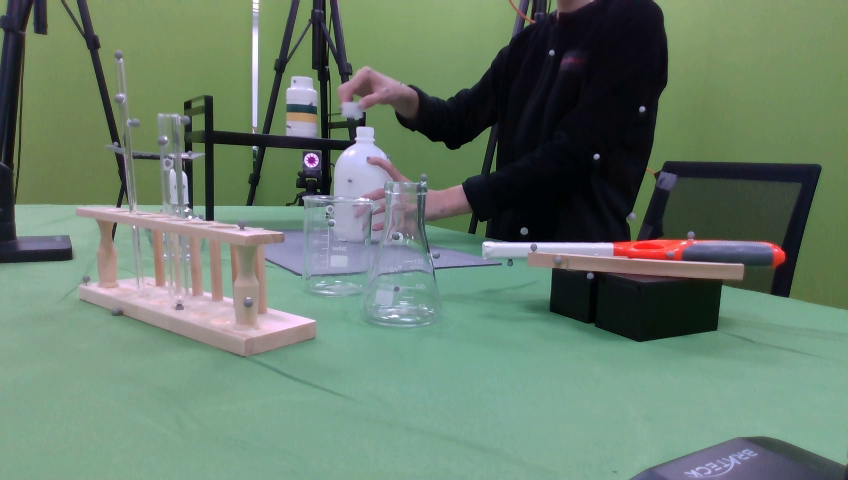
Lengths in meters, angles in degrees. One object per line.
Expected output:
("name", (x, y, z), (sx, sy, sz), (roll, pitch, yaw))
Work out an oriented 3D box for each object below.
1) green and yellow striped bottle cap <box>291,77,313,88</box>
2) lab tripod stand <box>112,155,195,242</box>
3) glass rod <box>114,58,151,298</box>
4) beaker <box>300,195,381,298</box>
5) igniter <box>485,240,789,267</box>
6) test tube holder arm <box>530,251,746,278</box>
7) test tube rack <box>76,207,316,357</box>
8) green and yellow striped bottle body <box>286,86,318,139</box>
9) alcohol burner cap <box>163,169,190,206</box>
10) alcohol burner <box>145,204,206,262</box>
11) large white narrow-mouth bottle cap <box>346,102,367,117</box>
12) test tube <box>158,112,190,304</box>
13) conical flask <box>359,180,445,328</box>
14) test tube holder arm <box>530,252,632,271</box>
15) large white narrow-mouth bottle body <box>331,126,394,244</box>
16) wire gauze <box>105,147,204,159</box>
("green and yellow striped bottle cap", (-0.250, -0.321, 1.238), (0.045, 0.020, 0.045), (3, 6, 0))
("lab tripod stand", (-0.405, -0.064, 0.931), (0.148, 0.131, 0.148), (1, 7, 0))
("glass rod", (-0.236, -0.044, 0.492), (0.008, 0.199, 0.008), (0, 15, 0))
("beaker", (-0.087, 0.006, 0.626), (0.084, 0.100, 0.074), (1, 8, -17))
("igniter", (0.197, 0.012, 0.585), (0.276, 0.025, 0.057), (1, 5, 12))
("test tube holder arm", (0.182, 0.022, 0.523), (0.178, 0.015, 0.013), (3, 6, 12))
("test tube rack", (-0.196, 0.023, 0.500), (0.241, 0.085, 0.067), (8, 9, 36))
("green and yellow striped bottle body", (-0.251, -0.270, 1.245), (0.063, 0.119, 0.063), (2, 7, 0))
("alcohol burner cap", (-0.320, -0.067, 0.782), (0.034, 0.048, 0.034), (1, 7, 0))
("alcohol burner", (-0.321, -0.032, 0.788), (0.078, 0.119, 0.078), (0, 7, 0))
("large white narrow-mouth bottle cap", (-0.114, -0.222, 1.032), (0.038, 0.024, 0.037), (4, 7, 0))
("test tube", (-0.194, -0.022, 0.469), (0.017, 0.150, 0.017), (2, 12, 0))
("conical flask", (-0.017, 0.010, 0.522), (0.075, 0.122, 0.075), (2, 7, 0))
("test tube holder arm", (0.139, 0.019, 0.538), (0.087, 0.015, 0.010), (3, 6, 13))
("large white narrow-mouth bottle body", (-0.103, -0.095, 1.027), (0.102, 0.194, 0.102), (4, 7, 0))
("wire gauze", (-0.407, -0.131, 0.928), (0.125, 0.011, 0.121), (2, 6, -11))
